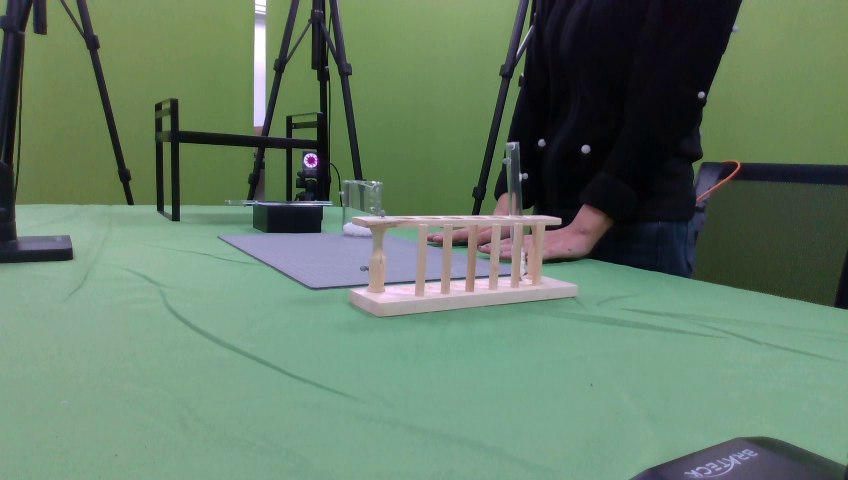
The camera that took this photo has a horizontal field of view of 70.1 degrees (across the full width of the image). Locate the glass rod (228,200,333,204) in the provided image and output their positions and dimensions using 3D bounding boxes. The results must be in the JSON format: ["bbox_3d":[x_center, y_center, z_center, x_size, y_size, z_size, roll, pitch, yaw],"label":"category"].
[{"bbox_3d":[-0.268,-0.071,1.143,0.201,0.008,0.008,-1,8,-29],"label":"glass rod"}]

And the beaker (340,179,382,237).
[{"bbox_3d":[-0.113,-0.058,1.094,0.074,0.100,0.083,-2,10,-29],"label":"beaker"}]

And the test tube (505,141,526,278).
[{"bbox_3d":[0.101,-0.032,0.664,0.017,0.150,0.017,-5,8,1],"label":"test tube"}]

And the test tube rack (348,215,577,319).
[{"bbox_3d":[0.048,0.021,0.619,0.244,0.085,0.066,-2,9,-31],"label":"test tube rack"}]
